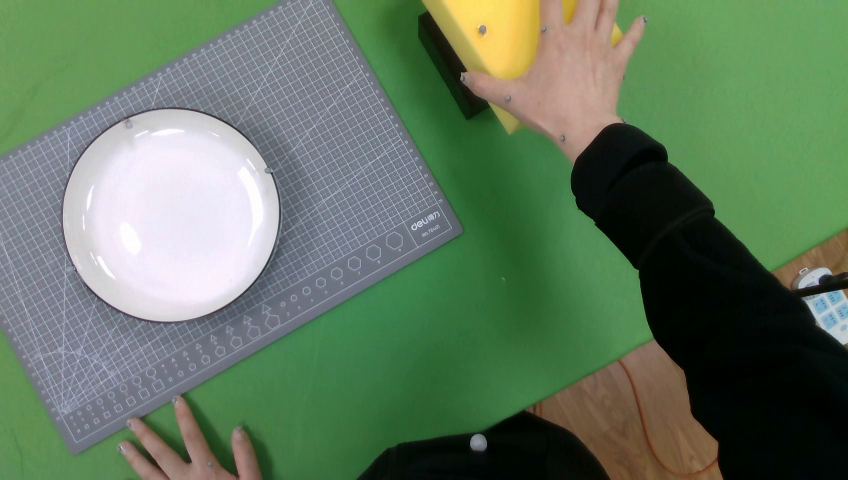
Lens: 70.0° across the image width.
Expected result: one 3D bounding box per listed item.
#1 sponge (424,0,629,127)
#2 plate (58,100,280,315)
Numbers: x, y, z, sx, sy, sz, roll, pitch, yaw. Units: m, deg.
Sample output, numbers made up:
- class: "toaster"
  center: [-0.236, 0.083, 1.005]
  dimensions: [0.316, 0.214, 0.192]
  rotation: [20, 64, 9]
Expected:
- class: "sponge"
  center: [0.074, -0.224, 0.551]
  dimensions: [0.118, 0.061, 0.206]
  rotation: [-34, 89, -2]
- class: "plate"
  center: [-0.243, -0.031, 0.594]
  dimensions: [0.209, 0.038, 0.209]
  rotation: [0, 88, -2]
